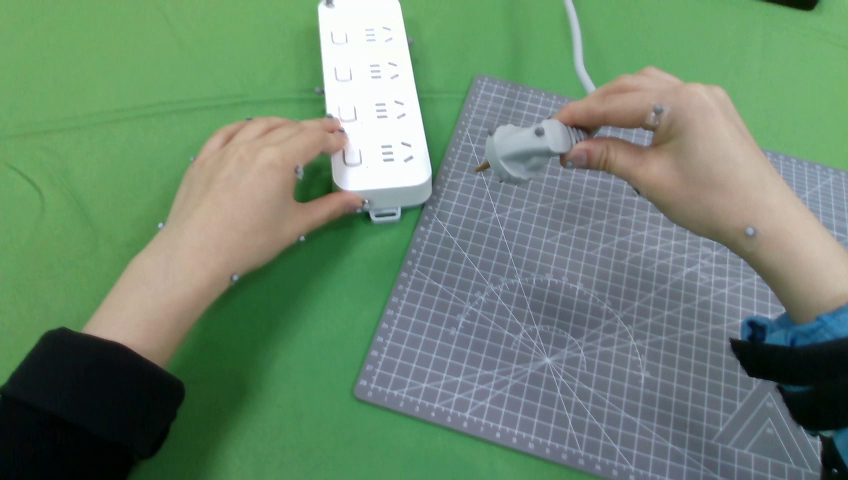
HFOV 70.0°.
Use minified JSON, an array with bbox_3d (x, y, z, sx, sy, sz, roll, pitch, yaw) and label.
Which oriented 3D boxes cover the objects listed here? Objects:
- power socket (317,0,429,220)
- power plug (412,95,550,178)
[{"bbox_3d":[-0.044,-0.117,0.476,0.072,0.033,0.224,-4,59,-8],"label":"power socket"},{"bbox_3d":[0.036,-0.065,0.344,0.072,0.035,0.052,24,68,2],"label":"power plug"}]
